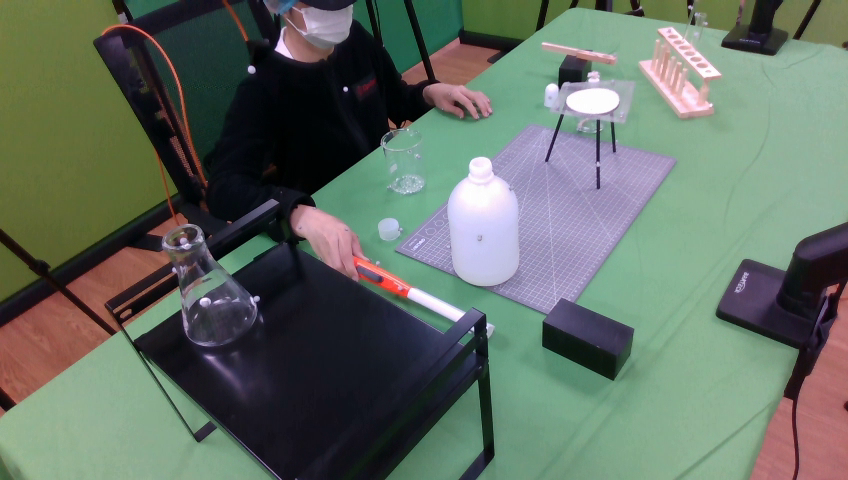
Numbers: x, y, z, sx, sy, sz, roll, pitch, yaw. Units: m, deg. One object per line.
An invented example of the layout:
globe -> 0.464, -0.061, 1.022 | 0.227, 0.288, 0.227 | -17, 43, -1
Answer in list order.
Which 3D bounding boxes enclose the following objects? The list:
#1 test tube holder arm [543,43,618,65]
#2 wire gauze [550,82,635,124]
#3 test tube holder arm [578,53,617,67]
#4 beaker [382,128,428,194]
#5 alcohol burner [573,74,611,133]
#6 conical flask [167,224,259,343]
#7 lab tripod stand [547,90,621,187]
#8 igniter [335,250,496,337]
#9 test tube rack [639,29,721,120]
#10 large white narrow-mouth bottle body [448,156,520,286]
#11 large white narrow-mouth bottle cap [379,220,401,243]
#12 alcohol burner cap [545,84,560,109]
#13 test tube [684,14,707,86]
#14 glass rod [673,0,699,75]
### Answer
test tube holder arm -> 0.345, -0.413, 1.340 | 0.177, 0.015, 0.013 | 25, 50, 31
wire gauze -> 0.285, -0.236, 1.020 | 0.124, 0.011, 0.121 | 10, 44, 22
test tube holder arm -> 0.376, -0.393, 1.314 | 0.087, 0.015, 0.010 | 26, 51, 32
beaker -> -0.030, -0.142, 1.095 | 0.073, 0.101, 0.084 | 14, 44, 23
alcohol burner -> 0.330, -0.270, 1.177 | 0.078, 0.119, 0.077 | -4, 42, 5
conical flask -> -0.220, 0.041, 0.613 | 0.075, 0.122, 0.075 | -5, 40, 4
lab tripod stand -> 0.289, -0.184, 1.062 | 0.148, 0.132, 0.147 | -6, 41, 6
igniter -> -0.023, 0.071, 0.867 | 0.274, 0.057, 0.025 | 24, 94, 27
test tube rack -> 0.527, -0.351, 1.262 | 0.067, 0.085, 0.241 | -8, 40, 1
large white narrow-mouth bottle body -> 0.086, -0.032, 0.869 | 0.102, 0.195, 0.101 | -4, 40, 4
large white narrow-mouth bottle cap -> -0.057, -0.015, 1.011 | 0.038, 0.024, 0.037 | -4, 40, 4
alcohol burner cap -> 0.274, -0.308, 1.285 | 0.034, 0.048, 0.033 | -5, 42, 5
test tube -> 0.541, -0.379, 1.216 | 0.017, 0.151, 0.017 | -2, 44, 2
glass rod -> 0.541, -0.427, 1.246 | 0.008, 0.200, 0.008 | 0, 48, 1
